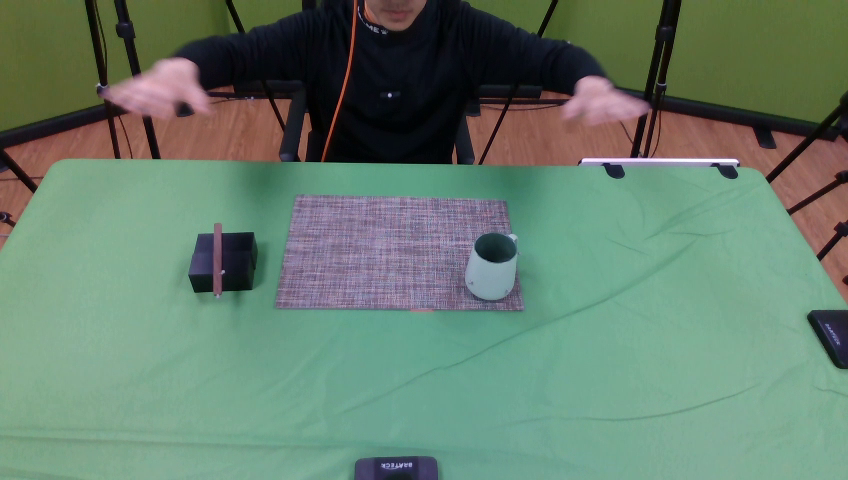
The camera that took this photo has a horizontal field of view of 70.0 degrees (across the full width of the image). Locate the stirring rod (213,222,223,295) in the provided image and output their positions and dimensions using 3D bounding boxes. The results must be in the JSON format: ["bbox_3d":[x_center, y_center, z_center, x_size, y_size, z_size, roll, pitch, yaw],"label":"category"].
[{"bbox_3d":[-0.368,0.030,1.083,0.014,0.006,0.175,-10,48,-9],"label":"stirring rod"}]

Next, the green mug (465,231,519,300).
[{"bbox_3d":[0.134,0.037,1.108,0.092,0.105,0.125,30,52,23],"label":"green mug"}]
